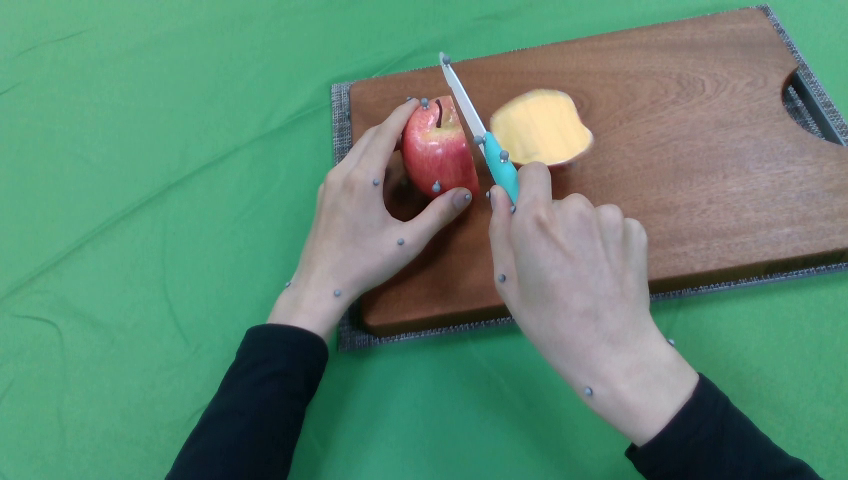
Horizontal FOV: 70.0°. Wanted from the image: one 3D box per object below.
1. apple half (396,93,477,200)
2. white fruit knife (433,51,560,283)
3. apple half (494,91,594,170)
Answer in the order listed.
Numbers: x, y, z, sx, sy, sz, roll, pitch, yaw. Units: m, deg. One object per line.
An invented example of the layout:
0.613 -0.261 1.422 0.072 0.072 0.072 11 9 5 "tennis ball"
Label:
0.006 -0.068 0.482 0.053 0.075 0.080 -19 59 2 "apple half"
0.042 -0.062 0.418 0.016 0.027 0.205 -16 59 -13 "white fruit knife"
0.094 -0.082 0.494 0.081 0.033 0.080 -1 59 2 "apple half"
